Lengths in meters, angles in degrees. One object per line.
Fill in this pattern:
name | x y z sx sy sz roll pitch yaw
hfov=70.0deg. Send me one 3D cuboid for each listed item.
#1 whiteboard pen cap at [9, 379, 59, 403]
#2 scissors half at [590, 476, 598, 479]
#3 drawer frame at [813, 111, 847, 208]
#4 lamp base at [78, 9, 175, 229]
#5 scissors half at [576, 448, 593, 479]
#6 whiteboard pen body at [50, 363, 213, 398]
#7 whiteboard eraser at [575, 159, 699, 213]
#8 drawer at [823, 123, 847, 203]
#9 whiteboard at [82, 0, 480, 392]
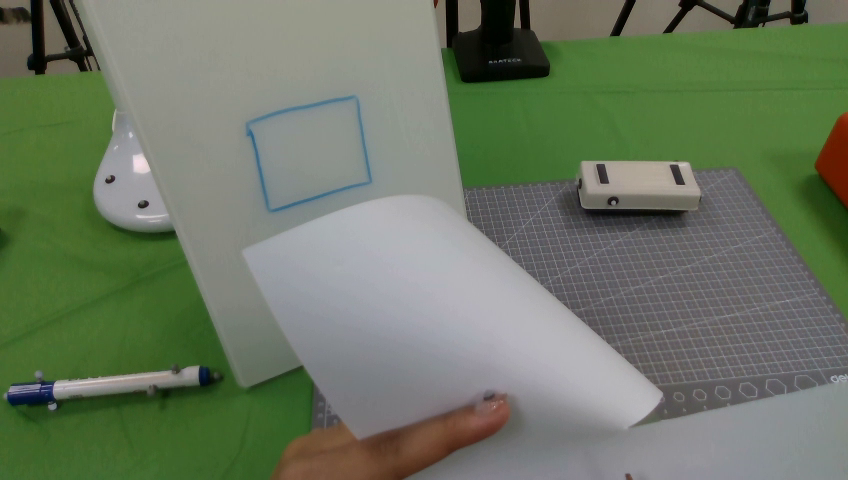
whiteboard pen cap | -0.298 0.116 0.467 0.033 0.018 0.018 -3 44 -10
scissors half | 0.101 0.160 0.261 0.013 0.176 0.040 -28 25 1
drawer frame | 0.520 -0.036 0.560 0.202 0.083 0.211 -4 44 -1
lamp base | -0.282 -0.128 0.604 0.178 0.182 0.160 25 51 28
scissors half | 0.100 0.163 0.237 0.013 0.040 0.174 -27 81 6
whiteboard pen body | -0.239 0.111 0.474 0.141 0.017 0.017 -5 45 -8
whiteboard eraser | 0.212 -0.053 0.611 0.112 0.042 0.055 0 43 2
drawer | 0.521 -0.030 0.556 0.194 0.074 0.209 -3 44 0
whiteboard | -0.099 -0.073 0.497 0.217 0.308 0.142 -20 28 -16
